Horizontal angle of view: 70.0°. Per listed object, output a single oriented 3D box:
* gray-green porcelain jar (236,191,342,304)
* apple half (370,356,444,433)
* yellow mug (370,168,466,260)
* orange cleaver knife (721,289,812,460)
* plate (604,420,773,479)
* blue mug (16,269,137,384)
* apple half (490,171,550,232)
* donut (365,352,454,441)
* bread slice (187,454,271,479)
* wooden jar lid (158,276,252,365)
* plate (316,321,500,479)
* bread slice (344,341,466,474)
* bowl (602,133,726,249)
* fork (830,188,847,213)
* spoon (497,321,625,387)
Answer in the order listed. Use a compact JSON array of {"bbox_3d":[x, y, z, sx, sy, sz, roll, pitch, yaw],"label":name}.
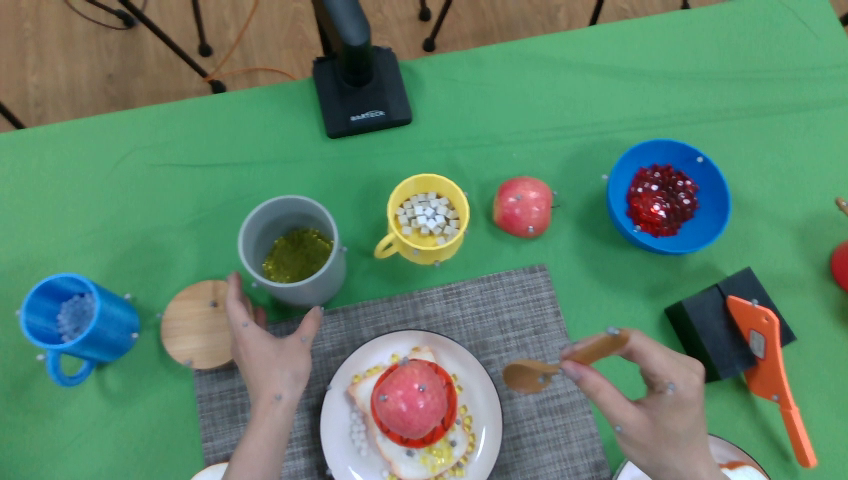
[{"bbox_3d":[-0.150,0.015,0.703,0.106,0.127,0.105,1,72,-3],"label":"gray-green porcelain jar"},{"bbox_3d":[-0.017,0.163,0.639,0.081,0.033,0.081,-1,73,4],"label":"apple half"},{"bbox_3d":[-0.013,-0.023,0.753,0.131,0.064,0.099,-36,78,-12],"label":"yellow mug"},{"bbox_3d":[0.400,0.156,0.712,0.012,0.077,0.212,-23,97,-17],"label":"orange cleaver knife"},{"bbox_3d":[0.297,0.311,0.681,0.209,0.038,0.208,1,73,-2],"label":"plate"},{"bbox_3d":[-0.386,0.101,0.673,0.082,0.106,0.116,8,72,0],"label":"blue mug"},{"bbox_3d":[0.125,-0.055,0.778,0.074,0.053,0.080,9,73,2],"label":"apple half"},{"bbox_3d":[-0.015,0.174,0.673,0.099,0.048,0.098,1,73,-3],"label":"donut"},{"bbox_3d":[-0.216,0.304,0.663,0.105,0.019,0.131,-4,74,-6],"label":"bread slice"},{"bbox_3d":[-0.259,0.096,0.724,0.108,0.021,0.107,1,69,-2],"label":"wooden jar lid"},{"bbox_3d":[-0.018,0.199,0.695,0.208,0.039,0.206,1,73,-3],"label":"plate"},{"bbox_3d":[-0.013,0.196,0.697,0.107,0.018,0.133,-29,76,-10],"label":"bread slice"},{"bbox_3d":[0.293,-0.052,0.772,0.151,0.077,0.150,1,73,-2],"label":"bowl"},{"bbox_3d":[0.533,-0.010,0.735,0.209,0.018,0.028,32,67,-36],"label":"fork"},{"bbox_3d":[0.103,0.093,0.474,0.041,0.194,0.021,29,67,-3],"label":"spoon"}]
